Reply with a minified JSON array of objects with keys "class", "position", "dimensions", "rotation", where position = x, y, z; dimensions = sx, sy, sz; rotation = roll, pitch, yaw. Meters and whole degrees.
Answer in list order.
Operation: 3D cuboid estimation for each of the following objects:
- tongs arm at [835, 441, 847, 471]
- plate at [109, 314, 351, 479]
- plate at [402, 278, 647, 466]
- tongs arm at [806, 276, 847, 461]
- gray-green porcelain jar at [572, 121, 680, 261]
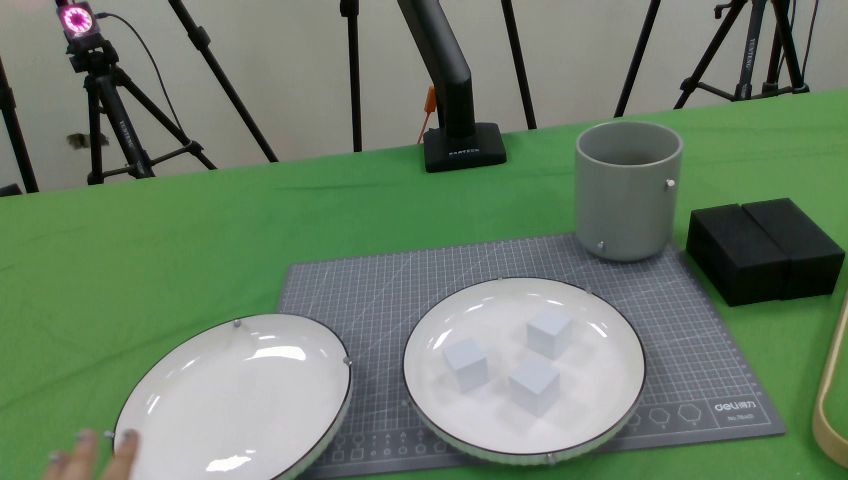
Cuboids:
[{"class":"tongs arm","position":[0.464,0.075,0.513],"dimensions":[0.385,0.027,0.050],"rotation":[-31,41,-27]},{"class":"plate","position":[-0.164,0.149,0.537],"dimensions":[0.209,0.038,0.207],"rotation":[-7,35,5]},{"class":"plate","position":[0.086,0.112,0.534],"dimensions":[0.207,0.039,0.205],"rotation":[-6,35,4]},{"class":"tongs arm","position":[0.407,0.050,0.566],"dimensions":[0.028,0.028,0.387],"rotation":[21,45,31]},{"class":"gray-green porcelain jar","position":[0.214,-0.049,0.655],"dimensions":[0.106,0.127,0.105],"rotation":[-6,35,5]}]
